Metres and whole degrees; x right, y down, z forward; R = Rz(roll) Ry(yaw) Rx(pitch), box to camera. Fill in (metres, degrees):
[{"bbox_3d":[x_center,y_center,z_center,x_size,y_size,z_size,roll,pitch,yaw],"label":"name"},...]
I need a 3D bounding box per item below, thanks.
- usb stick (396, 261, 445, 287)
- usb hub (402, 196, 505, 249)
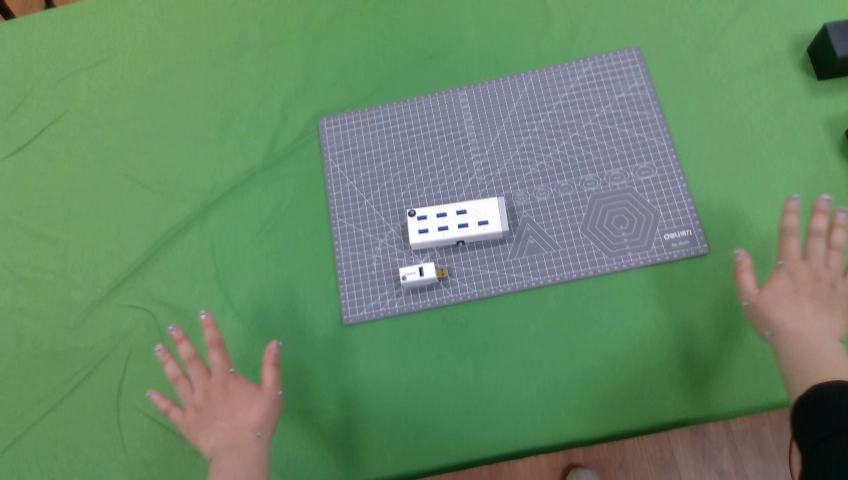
[{"bbox_3d":[-0.003,0.041,0.742,0.059,0.027,0.021,-9,71,2],"label":"usb stick"},{"bbox_3d":[0.037,-0.022,0.759,0.125,0.025,0.049,-8,70,5],"label":"usb hub"}]
